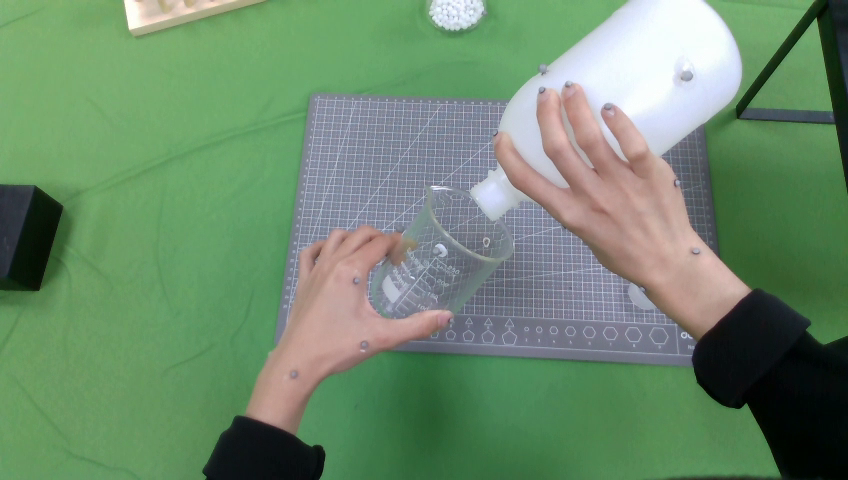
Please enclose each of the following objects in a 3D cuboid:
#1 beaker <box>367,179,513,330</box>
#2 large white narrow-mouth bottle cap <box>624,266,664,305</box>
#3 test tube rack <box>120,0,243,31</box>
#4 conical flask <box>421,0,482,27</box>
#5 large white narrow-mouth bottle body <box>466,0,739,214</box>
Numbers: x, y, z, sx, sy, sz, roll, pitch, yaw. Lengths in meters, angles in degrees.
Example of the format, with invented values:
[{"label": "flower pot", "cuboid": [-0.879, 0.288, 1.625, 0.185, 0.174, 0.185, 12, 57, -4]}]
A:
[{"label": "beaker", "cuboid": [0.006, 0.014, 0.462, 0.083, 0.100, 0.074, 47, 34, 14]}, {"label": "large white narrow-mouth bottle cap", "cuboid": [0.221, 0.046, 0.608, 0.038, 0.024, 0.037, -1, 70, 3]}, {"label": "test tube rack", "cuboid": [-0.261, -0.338, 0.731, 0.242, 0.086, 0.066, -17, 70, -5]}, {"label": "conical flask", "cuboid": [0.032, -0.312, 0.694, 0.075, 0.122, 0.075, -1, 69, 2]}, {"label": "large white narrow-mouth bottle body", "cuboid": [0.113, -0.089, 0.432, 0.194, 0.102, 0.101, -39, 72, 5]}]
